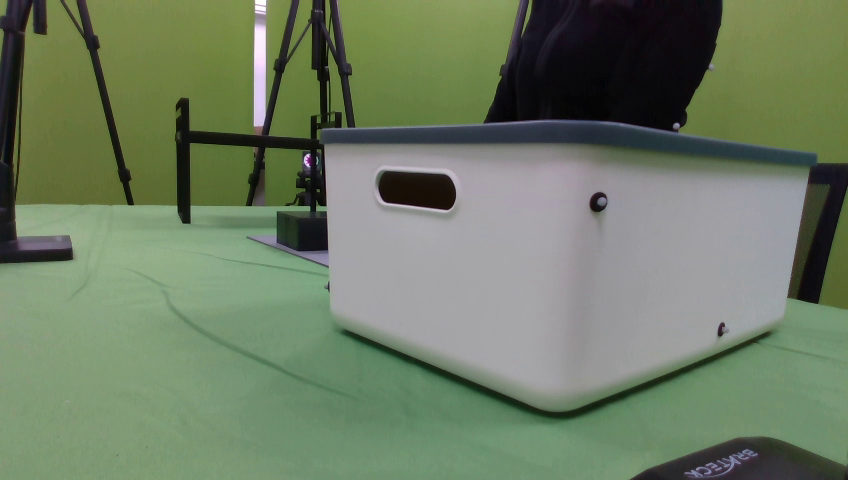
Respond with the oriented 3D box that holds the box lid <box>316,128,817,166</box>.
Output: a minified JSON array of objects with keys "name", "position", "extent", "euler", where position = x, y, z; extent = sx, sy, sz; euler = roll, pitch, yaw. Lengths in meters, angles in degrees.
[{"name":"box lid","position":[0.128,-0.074,0.501],"extent":[0.374,0.015,0.262],"euler":[-5,11,-41]}]

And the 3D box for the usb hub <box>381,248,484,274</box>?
[{"name":"usb hub","position":[0.011,0.026,0.774],"extent":[0.126,0.025,0.049],"euler":[0,7,-26]}]

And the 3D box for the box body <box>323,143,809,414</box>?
[{"name":"box body","position":[0.124,0.000,0.510],"extent":[0.366,0.160,0.253],"euler":[-4,10,-42]}]
